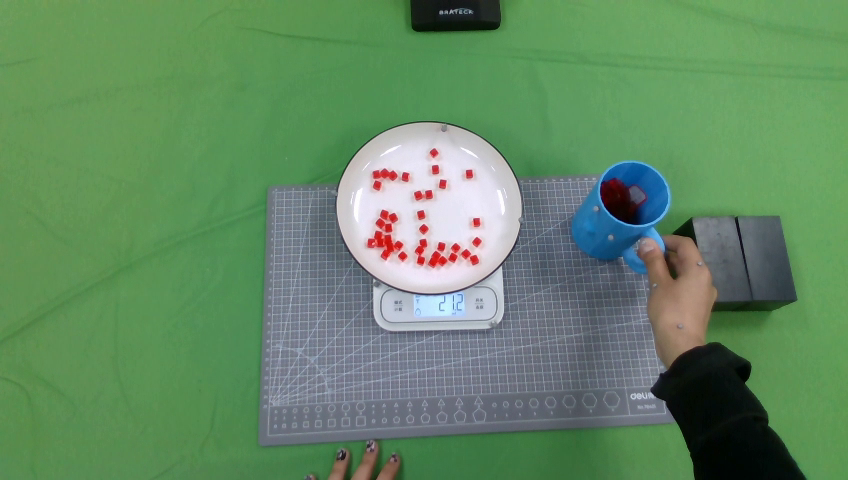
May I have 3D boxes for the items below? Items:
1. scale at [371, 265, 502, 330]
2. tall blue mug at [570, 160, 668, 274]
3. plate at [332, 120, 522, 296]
[{"bbox_3d":[0.013,0.002,0.703,0.149,0.032,0.199,-1,72,-2],"label":"scale"},{"bbox_3d":[0.227,-0.023,0.678,0.107,0.108,0.077,34,73,10],"label":"tall blue mug"},{"bbox_3d":[0.004,-0.035,0.680,0.209,0.038,0.207,1,72,-3],"label":"plate"}]
